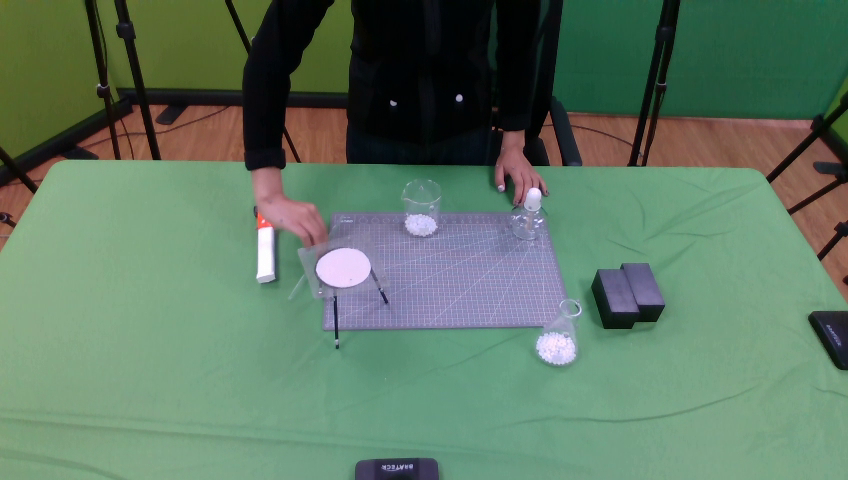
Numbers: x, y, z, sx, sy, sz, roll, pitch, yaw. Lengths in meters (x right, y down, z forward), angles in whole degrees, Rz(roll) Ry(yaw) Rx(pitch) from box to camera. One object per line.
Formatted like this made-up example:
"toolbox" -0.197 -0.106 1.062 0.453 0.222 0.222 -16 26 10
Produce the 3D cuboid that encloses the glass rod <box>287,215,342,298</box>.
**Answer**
"glass rod" -0.204 0.028 1.135 0.008 0.008 0.199 20 58 15

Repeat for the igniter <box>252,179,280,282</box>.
"igniter" -0.312 -0.027 1.197 0.057 0.025 0.274 -13 47 -2

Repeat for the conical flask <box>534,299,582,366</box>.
"conical flask" 0.229 0.149 1.005 0.075 0.122 0.075 2 46 -2

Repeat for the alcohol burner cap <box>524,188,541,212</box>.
"alcohol burner cap" 0.212 -0.081 1.177 0.034 0.048 0.033 -2 54 3

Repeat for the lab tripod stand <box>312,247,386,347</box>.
"lab tripod stand" -0.134 0.085 1.028 0.148 0.132 0.147 2 45 -1

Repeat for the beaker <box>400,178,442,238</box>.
"beaker" -0.009 -0.059 1.200 0.084 0.101 0.073 -14 48 -17

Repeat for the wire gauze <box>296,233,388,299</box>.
"wire gauze" -0.133 0.041 0.977 0.125 0.011 0.120 -12 47 -16

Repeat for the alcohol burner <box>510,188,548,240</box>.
"alcohol burner" 0.211 -0.057 1.204 0.078 0.120 0.077 1 47 -1
